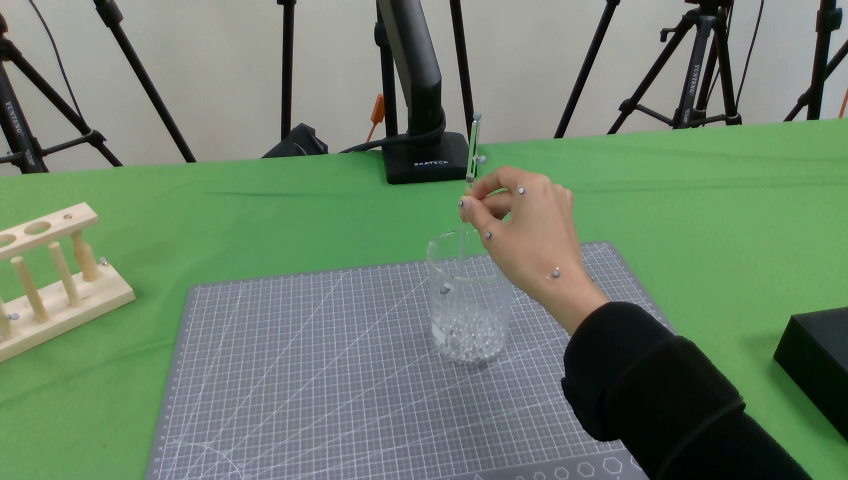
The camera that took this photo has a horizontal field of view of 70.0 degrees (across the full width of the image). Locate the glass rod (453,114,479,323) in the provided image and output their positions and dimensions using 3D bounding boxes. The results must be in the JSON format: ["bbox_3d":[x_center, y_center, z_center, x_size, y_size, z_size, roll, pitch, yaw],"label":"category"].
[{"bbox_3d":[0.034,-0.008,0.501,0.008,0.201,0.008,2,33,-1],"label":"glass rod"}]

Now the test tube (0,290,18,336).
[{"bbox_3d":[-0.369,0.020,0.499,0.017,0.151,0.017,1,35,-1],"label":"test tube"}]

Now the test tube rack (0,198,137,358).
[{"bbox_3d":[-0.394,0.056,0.528,0.242,0.086,0.066,-29,45,-34],"label":"test tube rack"}]

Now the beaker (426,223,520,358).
[{"bbox_3d":[0.037,0.045,0.523,0.083,0.101,0.074,27,44,33],"label":"beaker"}]
